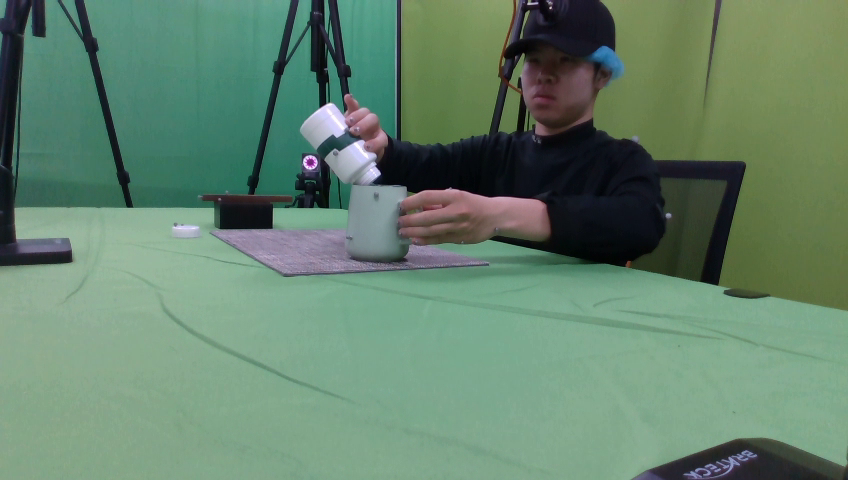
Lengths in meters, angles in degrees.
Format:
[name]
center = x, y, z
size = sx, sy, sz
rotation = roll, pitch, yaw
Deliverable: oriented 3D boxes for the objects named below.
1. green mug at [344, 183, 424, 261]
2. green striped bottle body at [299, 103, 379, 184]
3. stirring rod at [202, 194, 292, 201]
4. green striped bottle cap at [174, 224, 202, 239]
[green mug]
center = -0.053, -0.025, 0.849
size = 0.125, 0.105, 0.093
rotation = 7, 8, 33
[green striped bottle body]
center = -0.115, -0.129, 0.854
size = 0.063, 0.119, 0.063
rotation = -40, 5, 4
[stirring rod]
center = -0.353, -0.086, 1.216
size = 0.177, 0.014, 0.006
rotation = -1, 12, -27
[green striped bottle cap]
center = -0.404, -0.015, 1.036
size = 0.044, 0.020, 0.044
rotation = -2, 9, 1
